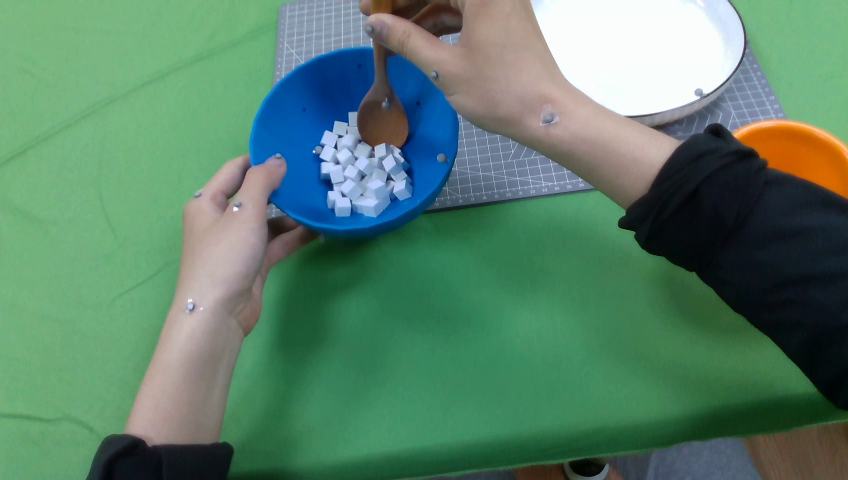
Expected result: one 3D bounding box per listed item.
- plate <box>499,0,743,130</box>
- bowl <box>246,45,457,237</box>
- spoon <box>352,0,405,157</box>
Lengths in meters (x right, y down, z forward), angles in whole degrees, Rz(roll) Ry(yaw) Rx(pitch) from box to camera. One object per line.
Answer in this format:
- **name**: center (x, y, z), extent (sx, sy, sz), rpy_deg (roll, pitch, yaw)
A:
- **plate**: center (0.172, -0.176, 0.549), extent (0.209, 0.038, 0.207), rpy_deg (-3, 59, 6)
- **bowl**: center (-0.048, -0.062, 0.460), extent (0.151, 0.077, 0.150), rpy_deg (-2, 69, 4)
- **spoon**: center (-0.030, -0.118, 0.398), extent (0.041, 0.195, 0.021), rpy_deg (12, 64, 2)
